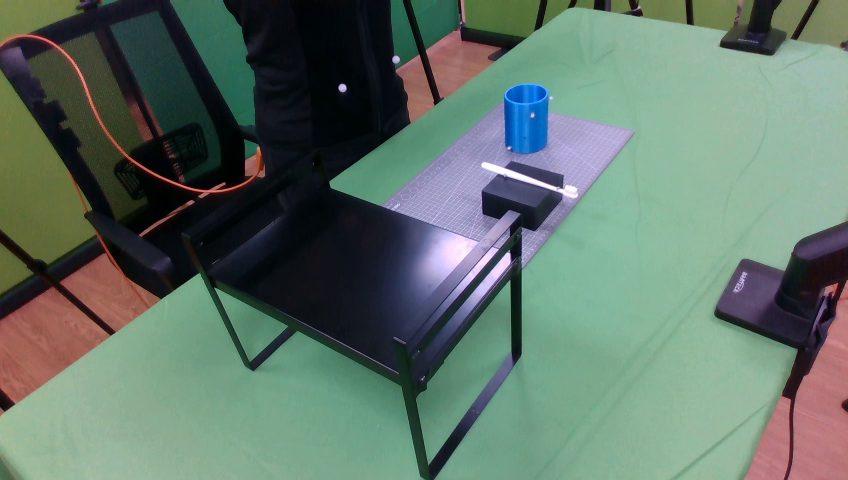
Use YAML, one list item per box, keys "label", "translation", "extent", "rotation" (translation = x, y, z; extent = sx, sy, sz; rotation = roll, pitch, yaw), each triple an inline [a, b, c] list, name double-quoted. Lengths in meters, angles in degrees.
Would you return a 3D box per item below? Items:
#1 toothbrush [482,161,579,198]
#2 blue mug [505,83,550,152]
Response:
- label: "toothbrush"
  translation: [0.172, -0.103, 0.996]
  extent: [0.180, 0.017, 0.014]
  rotation: [23, 57, 31]
- label: "blue mug"
  translation: [0.204, -0.243, 1.160]
  extent: [0.082, 0.106, 0.116]
  rotation: [14, 45, 24]
